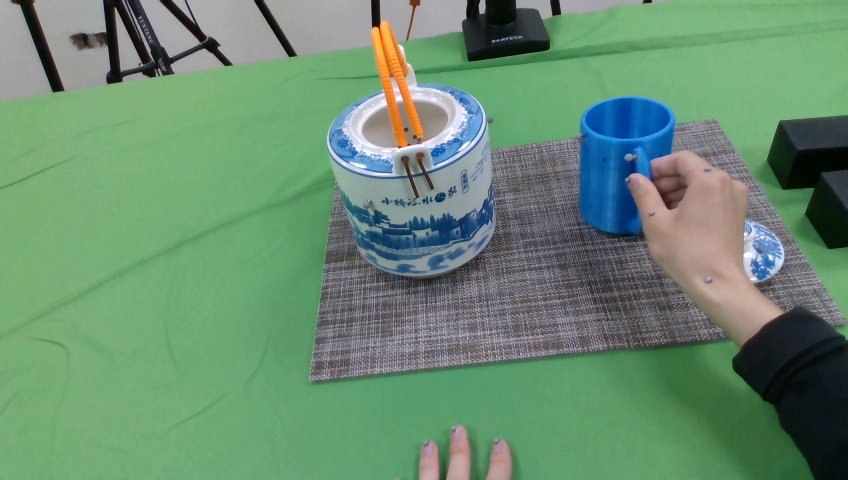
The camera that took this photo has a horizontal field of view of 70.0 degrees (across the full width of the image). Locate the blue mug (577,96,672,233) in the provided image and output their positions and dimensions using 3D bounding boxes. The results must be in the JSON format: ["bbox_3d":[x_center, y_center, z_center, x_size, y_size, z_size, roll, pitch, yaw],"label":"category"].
[{"bbox_3d":[0.190,-0.062,0.571,0.082,0.107,0.115,-7,40,5],"label":"blue mug"}]

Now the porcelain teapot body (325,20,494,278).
[{"bbox_3d":[-0.018,-0.101,0.571,0.145,0.227,0.203,-12,44,-1],"label":"porcelain teapot body"}]

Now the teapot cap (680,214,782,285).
[{"bbox_3d":[0.273,0.002,0.540,0.085,0.044,0.084,-4,43,4],"label":"teapot cap"}]
